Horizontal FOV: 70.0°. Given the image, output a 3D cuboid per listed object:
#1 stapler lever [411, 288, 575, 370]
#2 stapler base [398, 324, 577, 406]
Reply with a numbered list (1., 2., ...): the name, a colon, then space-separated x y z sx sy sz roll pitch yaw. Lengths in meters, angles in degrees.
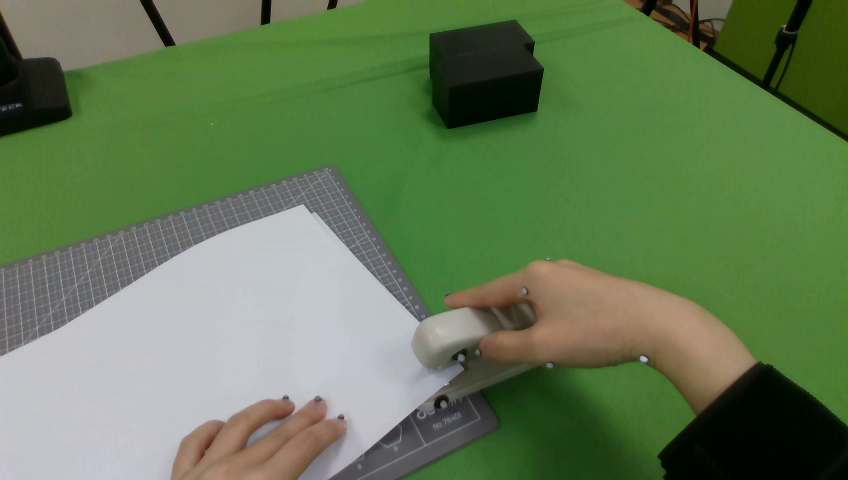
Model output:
1. stapler lever: 0.048 0.054 0.403 0.118 0.040 0.026 -16 50 -21
2. stapler base: 0.046 0.073 0.420 0.131 0.024 0.041 -17 50 -20
